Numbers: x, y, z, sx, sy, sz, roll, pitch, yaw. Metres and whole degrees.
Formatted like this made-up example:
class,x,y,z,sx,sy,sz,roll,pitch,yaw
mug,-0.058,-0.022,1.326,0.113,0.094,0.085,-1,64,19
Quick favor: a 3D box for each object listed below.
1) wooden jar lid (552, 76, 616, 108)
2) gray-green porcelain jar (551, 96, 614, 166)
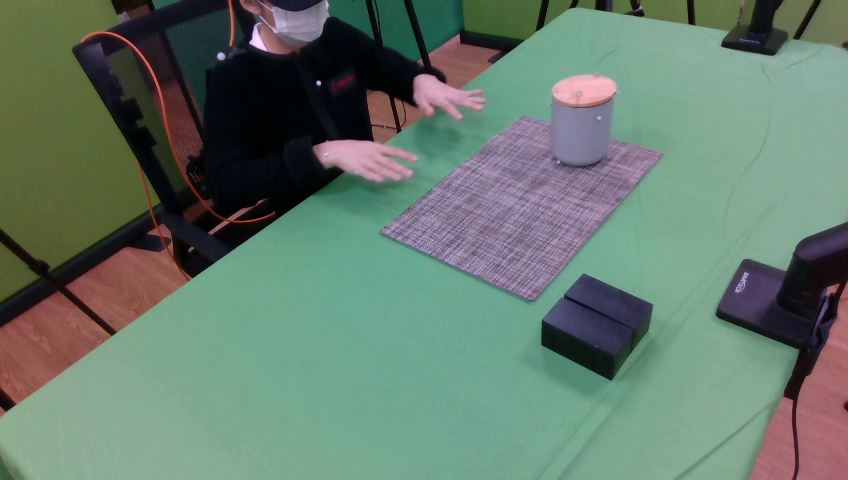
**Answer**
class,x,y,z,sx,sy,sz,roll,pitch,yaw
wooden jar lid,0.276,-0.252,1.046,0.108,0.021,0.108,-6,39,5
gray-green porcelain jar,0.282,-0.205,1.086,0.106,0.127,0.105,-5,40,4
